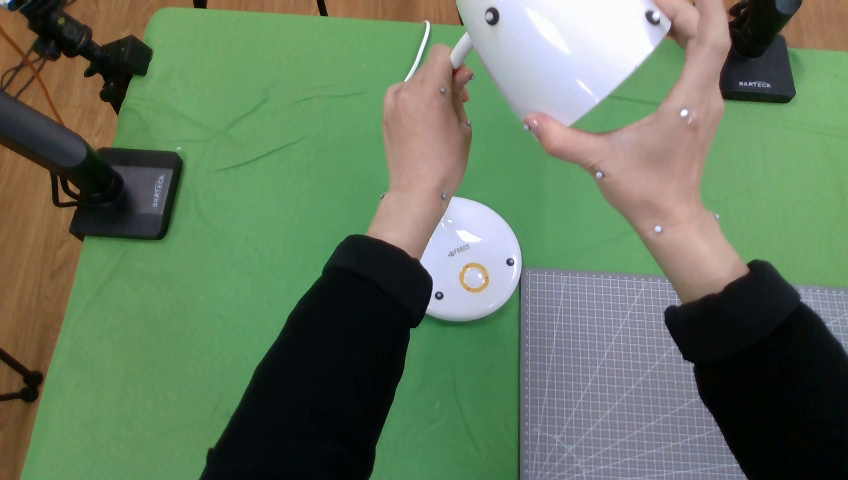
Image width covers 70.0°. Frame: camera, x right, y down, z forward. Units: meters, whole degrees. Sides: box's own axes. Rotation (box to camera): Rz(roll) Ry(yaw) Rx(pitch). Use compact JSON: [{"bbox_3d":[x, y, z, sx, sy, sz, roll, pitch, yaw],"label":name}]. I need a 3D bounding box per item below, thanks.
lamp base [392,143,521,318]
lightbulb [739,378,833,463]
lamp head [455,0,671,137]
[{"bbox_3d":[0.034,-0.019,0.681,0.160,0.181,0.178,-36,71,-14],"label":"lamp base"},{"bbox_3d":[0.399,0.197,0.676,0.059,0.060,0.106,-33,58,-13],"label":"lightbulb"},{"bbox_3d":[0.076,-0.145,0.397,0.123,0.112,0.112,42,73,-4],"label":"lamp head"}]
